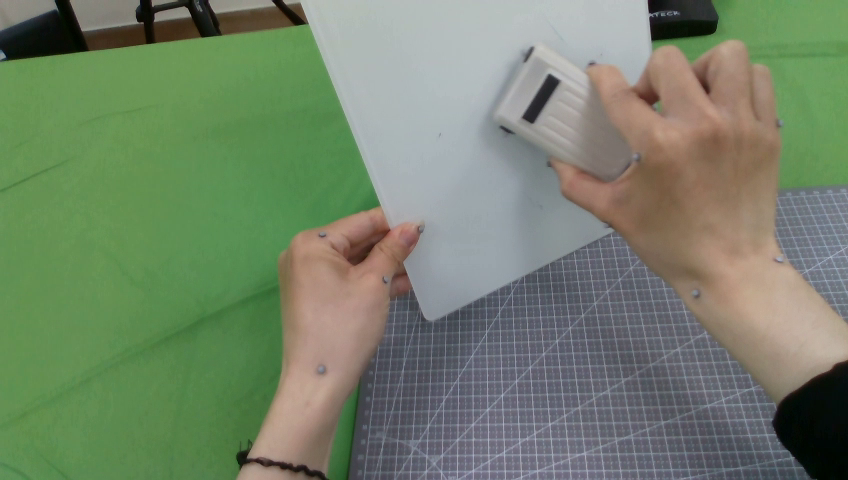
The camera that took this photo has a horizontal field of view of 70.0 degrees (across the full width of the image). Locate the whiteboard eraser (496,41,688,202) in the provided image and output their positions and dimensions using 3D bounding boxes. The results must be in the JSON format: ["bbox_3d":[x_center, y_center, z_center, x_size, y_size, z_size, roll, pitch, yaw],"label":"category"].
[{"bbox_3d":[0.106,-0.075,0.390,0.113,0.056,0.041,29,24,-7],"label":"whiteboard eraser"}]

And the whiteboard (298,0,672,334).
[{"bbox_3d":[0.034,-0.128,0.444,0.217,0.308,0.142,-25,31,-8],"label":"whiteboard"}]
